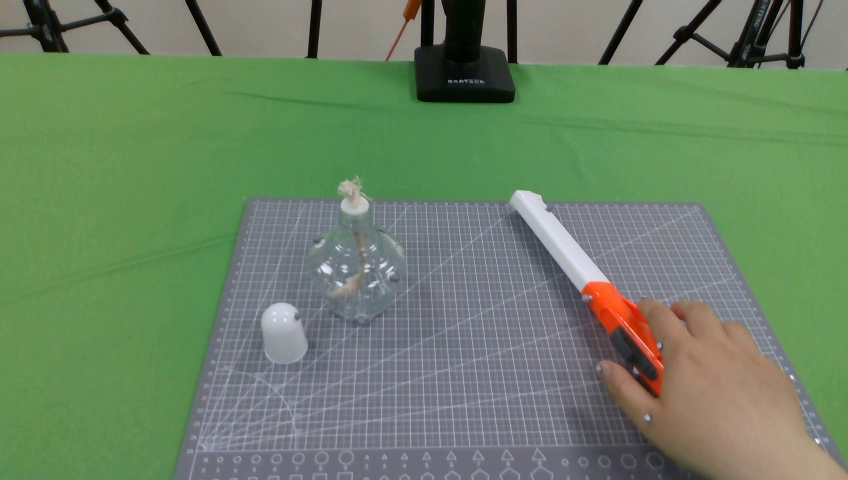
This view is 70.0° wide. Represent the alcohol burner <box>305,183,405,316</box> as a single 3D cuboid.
[{"bbox_3d":[-0.052,0.003,0.462,0.078,0.120,0.077,4,45,-3],"label":"alcohol burner"}]

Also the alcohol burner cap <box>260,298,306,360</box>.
[{"bbox_3d":[-0.105,0.063,0.447,0.034,0.048,0.033,3,44,-2],"label":"alcohol burner cap"}]

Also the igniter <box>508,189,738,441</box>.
[{"bbox_3d":[0.147,0.045,0.493,0.057,0.025,0.273,5,37,-33],"label":"igniter"}]
